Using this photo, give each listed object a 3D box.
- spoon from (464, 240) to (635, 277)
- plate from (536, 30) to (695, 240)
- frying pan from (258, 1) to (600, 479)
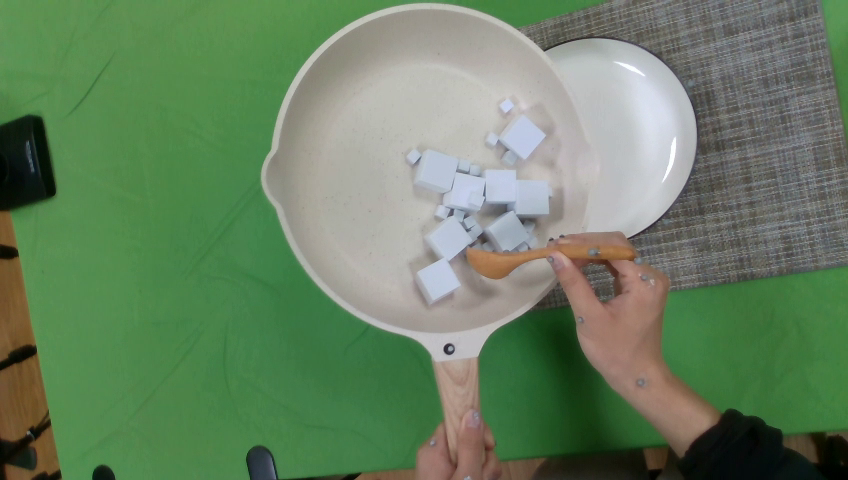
[{"bbox_3d":[0.093,0.011,0.501,0.042,0.021,0.193,48,151,-19],"label":"spoon"},{"bbox_3d":[0.161,-0.102,0.615,0.207,0.039,0.207,1,94,19],"label":"plate"},{"bbox_3d":[0.019,0.041,0.541,0.308,0.103,0.486,-4,82,-13],"label":"frying pan"}]
